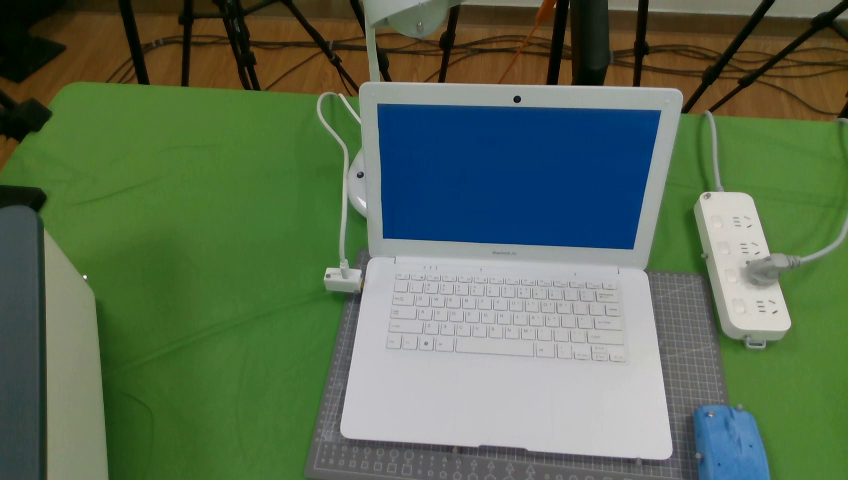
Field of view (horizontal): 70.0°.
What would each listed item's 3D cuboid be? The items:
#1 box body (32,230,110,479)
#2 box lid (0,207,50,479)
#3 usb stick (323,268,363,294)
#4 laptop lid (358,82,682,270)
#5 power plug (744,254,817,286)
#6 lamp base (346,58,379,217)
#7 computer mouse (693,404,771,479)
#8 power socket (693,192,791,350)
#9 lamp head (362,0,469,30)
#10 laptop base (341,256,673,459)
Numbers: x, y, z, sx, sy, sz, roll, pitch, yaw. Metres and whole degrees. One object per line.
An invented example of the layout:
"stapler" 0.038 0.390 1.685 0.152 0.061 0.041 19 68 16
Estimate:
"box body" -0.476 0.180 0.607 0.254 0.162 0.360 -18 55 -11
"box lid" -0.479 0.134 0.548 0.264 0.015 0.367 -18 56 -11
"usb stick" -0.094 0.052 0.755 0.059 0.027 0.021 7 49 5
"laptop lid" 0.102 -0.068 0.715 0.356 0.243 0.013 1 31 5
"power plug" 0.419 0.042 0.720 0.072 0.053 0.035 12 54 9
"lamp base" -0.042 -0.137 0.807 0.161 0.182 0.177 -29 55 -17
"computer mouse" 0.312 0.222 0.616 0.062 0.041 0.116 6 51 9
"power socket" 0.394 0.028 0.759 0.072 0.033 0.224 3 54 3
"lamp head" -0.017 -0.265 0.553 0.112 0.112 0.123 -22 99 -12
"laptop base" 0.093 0.128 0.708 0.354 0.023 0.233 2 58 4
